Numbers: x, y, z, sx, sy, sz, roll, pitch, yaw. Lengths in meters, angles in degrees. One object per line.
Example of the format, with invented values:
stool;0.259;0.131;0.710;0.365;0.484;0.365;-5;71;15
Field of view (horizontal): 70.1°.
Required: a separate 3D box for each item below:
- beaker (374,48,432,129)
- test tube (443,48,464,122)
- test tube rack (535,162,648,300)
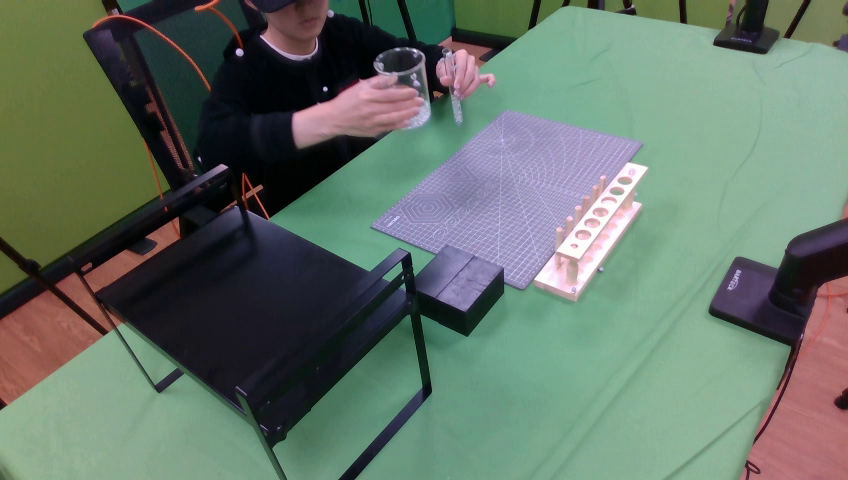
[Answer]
beaker;-0.027;-0.226;0.907;0.073;0.101;0.084;23;53;29
test tube;0.053;-0.264;1.046;0.017;0.151;0.017;-7;50;9
test tube rack;0.257;-0.024;0.916;0.066;0.085;0.243;22;49;30
